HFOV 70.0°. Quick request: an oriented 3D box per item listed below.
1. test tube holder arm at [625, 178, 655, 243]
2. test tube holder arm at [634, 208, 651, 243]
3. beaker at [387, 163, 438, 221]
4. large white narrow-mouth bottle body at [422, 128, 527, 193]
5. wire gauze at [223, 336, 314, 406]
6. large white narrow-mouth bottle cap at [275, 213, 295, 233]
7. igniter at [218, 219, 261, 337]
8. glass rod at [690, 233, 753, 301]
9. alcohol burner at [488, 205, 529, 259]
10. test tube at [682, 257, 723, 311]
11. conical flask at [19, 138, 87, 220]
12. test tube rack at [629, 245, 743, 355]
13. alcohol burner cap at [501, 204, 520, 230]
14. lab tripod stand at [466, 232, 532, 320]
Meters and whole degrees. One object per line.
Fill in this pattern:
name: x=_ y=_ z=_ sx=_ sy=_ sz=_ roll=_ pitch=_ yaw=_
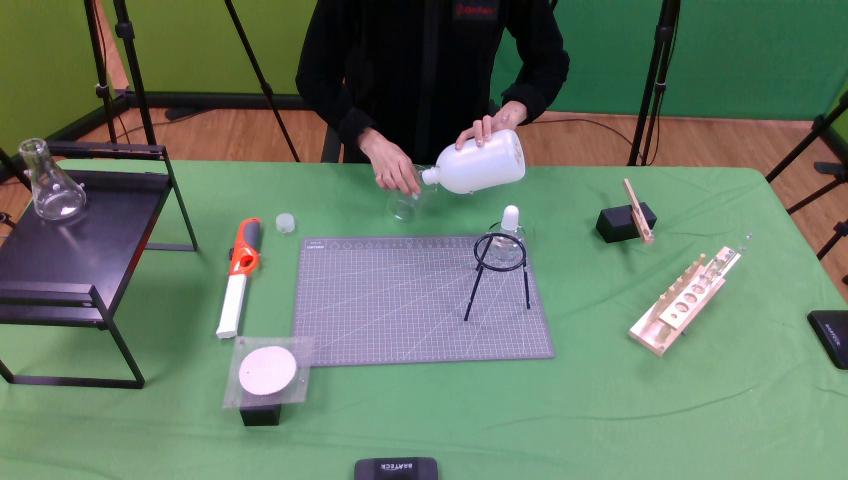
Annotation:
test tube holder arm: x=0.433 y=-0.062 z=1.220 sx=0.013 sy=0.015 sz=0.177 roll=0 pitch=47 yaw=-3
test tube holder arm: x=0.428 y=-0.030 z=1.189 sx=0.010 sy=0.015 sz=0.087 roll=1 pitch=47 yaw=-2
beaker: x=-0.026 y=-0.092 z=1.221 sx=0.084 sy=0.100 sz=0.074 roll=32 pitch=43 yaw=0
large white narrow-mouth bottle body: x=0.089 y=-0.143 z=1.152 sx=0.194 sy=0.102 sz=0.101 roll=-13 pitch=42 yaw=21
wire gauze: x=-0.237 y=0.197 z=0.931 sx=0.121 sy=0.011 sz=0.124 roll=1 pitch=45 yaw=-4
large white narrow-mouth bottle cap: x=-0.278 y=-0.034 z=1.213 sx=0.038 sy=0.024 sz=0.037 roll=3 pitch=46 yaw=-3
igniter: x=-0.336 y=0.060 z=1.111 sx=0.057 sy=0.025 sz=0.274 roll=-8 pitch=46 yaw=3
glass rod: x=0.507 y=0.053 z=1.041 sx=0.008 sy=0.200 sz=0.008 roll=5 pitch=51 yaw=-6
alcohol burner: x=0.163 y=-0.020 z=1.158 sx=0.078 sy=0.120 sz=0.077 roll=0 pitch=47 yaw=0
test tube: x=0.475 y=0.080 z=1.037 sx=0.017 sy=0.151 sz=0.017 roll=1 pitch=51 yaw=-1
conical flask: x=-0.576 y=-0.096 z=0.930 sx=0.075 sy=0.122 sz=0.075 roll=2 pitch=46 yaw=-2
test tube rack: x=0.474 y=0.095 z=1.091 sx=0.242 sy=0.085 sz=0.066 roll=-34 pitch=56 yaw=-31
alcohol burner cap: x=0.164 y=-0.046 z=1.133 sx=0.034 sy=0.048 sz=0.033 roll=2 pitch=40 yaw=-1
lab tripod stand: x=0.124 y=0.059 z=1.065 sx=0.148 sy=0.132 sz=0.147 roll=1 pitch=45 yaw=0
